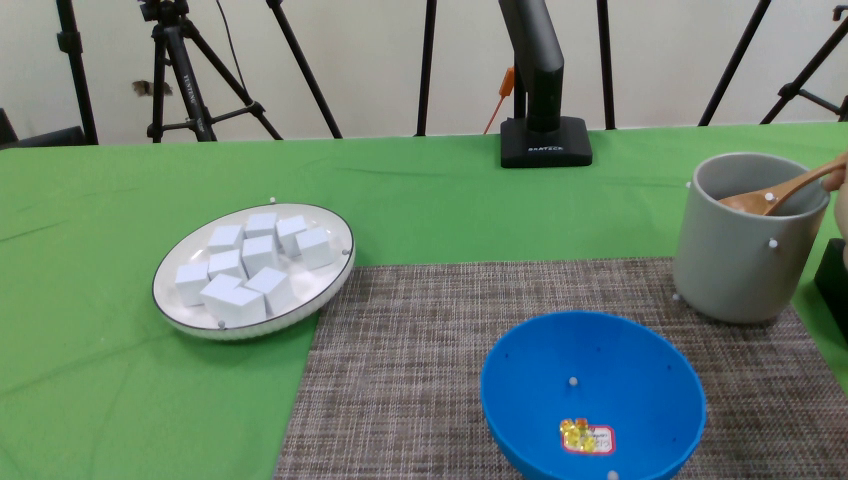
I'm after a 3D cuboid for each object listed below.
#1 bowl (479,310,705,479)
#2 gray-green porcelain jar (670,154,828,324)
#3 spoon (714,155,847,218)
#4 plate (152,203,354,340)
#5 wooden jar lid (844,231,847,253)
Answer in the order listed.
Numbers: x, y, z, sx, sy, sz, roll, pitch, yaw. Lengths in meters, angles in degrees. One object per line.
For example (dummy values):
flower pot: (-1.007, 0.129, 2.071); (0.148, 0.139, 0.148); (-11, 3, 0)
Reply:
bowl: (0.115, 0.130, 0.439); (0.151, 0.077, 0.150); (-3, 37, 3)
gray-green porcelain jar: (0.283, 0.003, 0.543); (0.106, 0.127, 0.105); (-4, 38, 3)
spoon: (0.316, -0.050, 0.480); (0.193, 0.022, 0.041); (-29, 32, 31)
plate: (-0.176, 0.033, 0.641); (0.209, 0.038, 0.207); (-4, 37, 4)
wooden jar lid: (0.421, 0.017, 0.519); (0.108, 0.021, 0.107); (-4, 37, 4)
